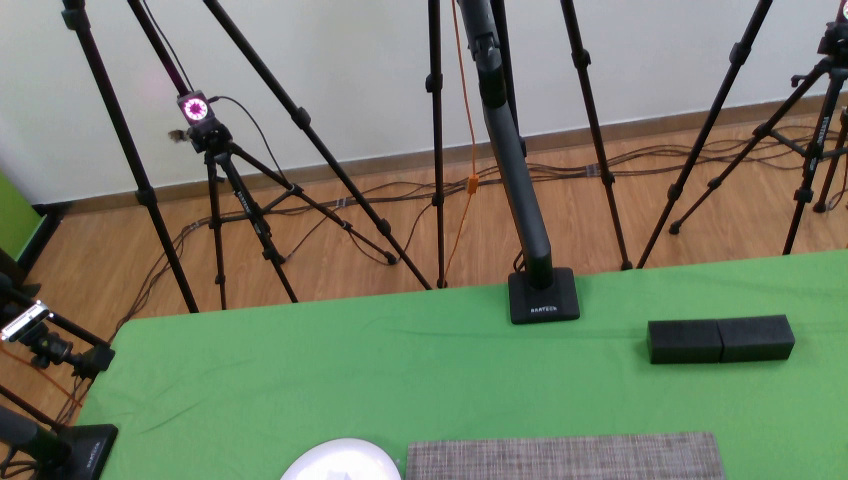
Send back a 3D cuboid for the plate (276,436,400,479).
[{"bbox_3d":[-0.130,0.393,0.890,0.207,0.039,0.205,-8,46,8],"label":"plate"}]
